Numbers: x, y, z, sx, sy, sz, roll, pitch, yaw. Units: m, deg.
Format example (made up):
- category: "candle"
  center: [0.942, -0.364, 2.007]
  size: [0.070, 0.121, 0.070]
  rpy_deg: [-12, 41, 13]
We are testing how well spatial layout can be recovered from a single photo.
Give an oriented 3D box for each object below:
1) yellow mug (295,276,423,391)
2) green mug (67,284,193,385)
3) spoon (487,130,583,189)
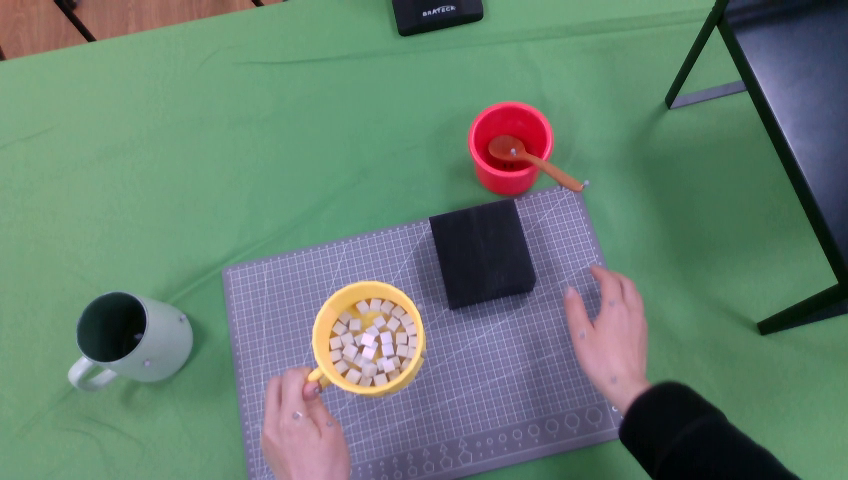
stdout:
- category: "yellow mug"
  center: [-0.064, 0.098, 0.561]
  size: [0.131, 0.064, 0.099]
  rpy_deg: [-37, 77, -8]
- category: "green mug"
  center: [-0.330, 0.111, 0.669]
  size: [0.092, 0.105, 0.125]
  rpy_deg: [42, 79, 15]
- category: "spoon"
  center: [0.122, -0.093, 0.685]
  size: [0.041, 0.192, 0.022]
  rpy_deg: [-26, 117, -7]
